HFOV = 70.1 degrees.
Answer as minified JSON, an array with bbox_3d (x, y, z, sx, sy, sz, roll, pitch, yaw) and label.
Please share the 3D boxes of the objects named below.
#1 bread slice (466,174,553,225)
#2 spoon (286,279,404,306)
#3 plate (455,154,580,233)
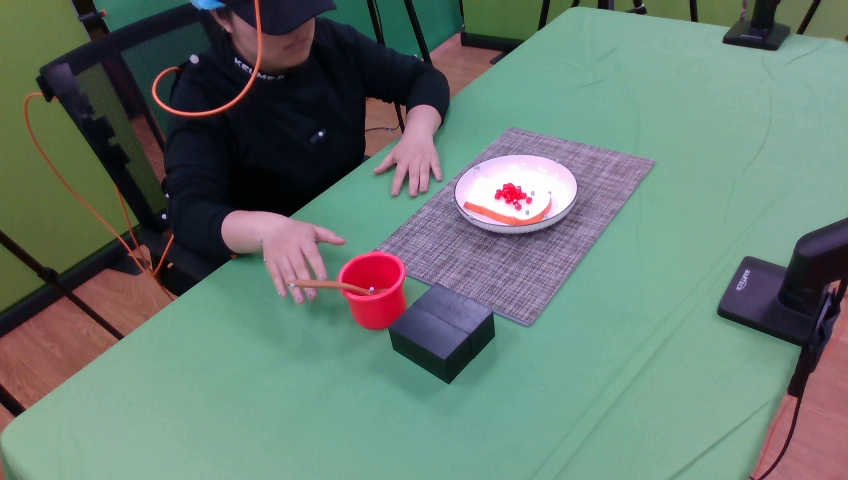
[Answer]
[{"bbox_3d":[0.152,-0.067,1.022,0.130,0.019,0.105,22,50,34],"label":"bread slice"},{"bbox_3d":[-0.104,0.068,0.832,0.195,0.021,0.041,17,21,-43],"label":"spoon"},{"bbox_3d":[0.158,-0.076,1.028,0.209,0.038,0.208,-5,40,5],"label":"plate"}]
